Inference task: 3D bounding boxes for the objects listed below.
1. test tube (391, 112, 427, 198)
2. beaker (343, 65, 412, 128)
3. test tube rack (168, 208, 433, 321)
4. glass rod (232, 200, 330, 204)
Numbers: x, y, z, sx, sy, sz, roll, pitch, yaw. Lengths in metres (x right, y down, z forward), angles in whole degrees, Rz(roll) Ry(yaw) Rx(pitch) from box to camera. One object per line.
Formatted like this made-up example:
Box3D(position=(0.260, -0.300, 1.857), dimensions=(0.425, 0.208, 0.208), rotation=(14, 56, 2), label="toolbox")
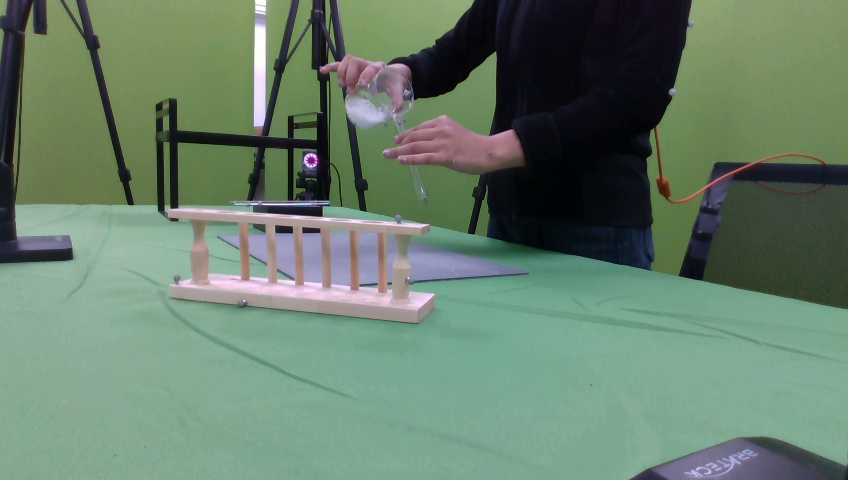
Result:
Box3D(position=(-0.023, -0.128, 0.906), dimensions=(0.017, 0.149, 0.017), rotation=(-15, -23, -6), label="test tube")
Box3D(position=(-0.077, -0.223, 0.972), dimensions=(0.074, 0.084, 0.100), rotation=(-6, -4, -39), label="beaker")
Box3D(position=(-0.115, 0.017, 0.574), dimensions=(0.242, 0.085, 0.067), rotation=(4, 8, 13), label="test tube rack")
Box3D(position=(-0.266, -0.072, 1.146), dimensions=(0.201, 0.008, 0.008), rotation=(-4, 10, -40), label="glass rod")
